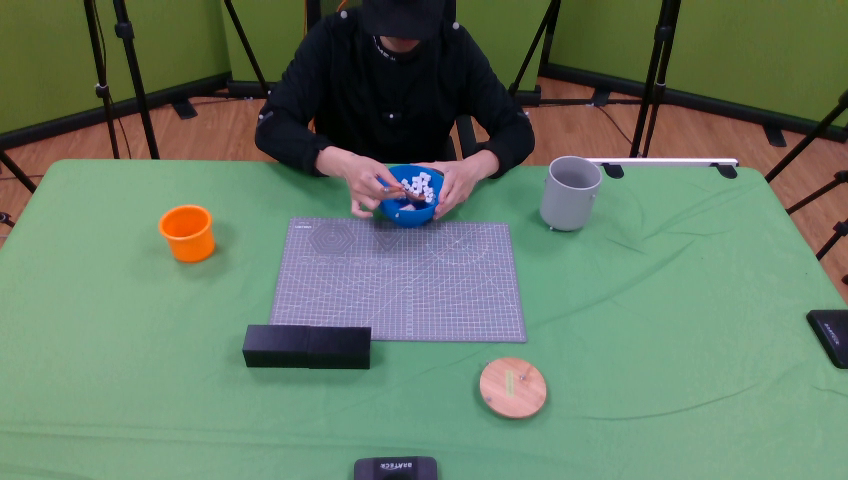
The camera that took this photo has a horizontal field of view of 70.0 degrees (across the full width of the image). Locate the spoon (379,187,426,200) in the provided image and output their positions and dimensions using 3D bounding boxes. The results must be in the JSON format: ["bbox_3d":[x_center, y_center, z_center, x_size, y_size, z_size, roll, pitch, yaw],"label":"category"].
[{"bbox_3d":[-0.044,-0.093,1.172,0.041,0.021,0.194,21,5,20],"label":"spoon"}]

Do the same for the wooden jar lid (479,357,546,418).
[{"bbox_3d":[0.142,0.240,0.979,0.108,0.021,0.107,1,46,-1],"label":"wooden jar lid"}]

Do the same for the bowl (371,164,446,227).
[{"bbox_3d":[-0.032,-0.079,1.229,0.151,0.077,0.150,2,44,-2],"label":"bowl"}]

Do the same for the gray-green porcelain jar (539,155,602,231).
[{"bbox_3d":[0.294,-0.091,1.235,0.106,0.127,0.105,2,46,-2],"label":"gray-green porcelain jar"}]
